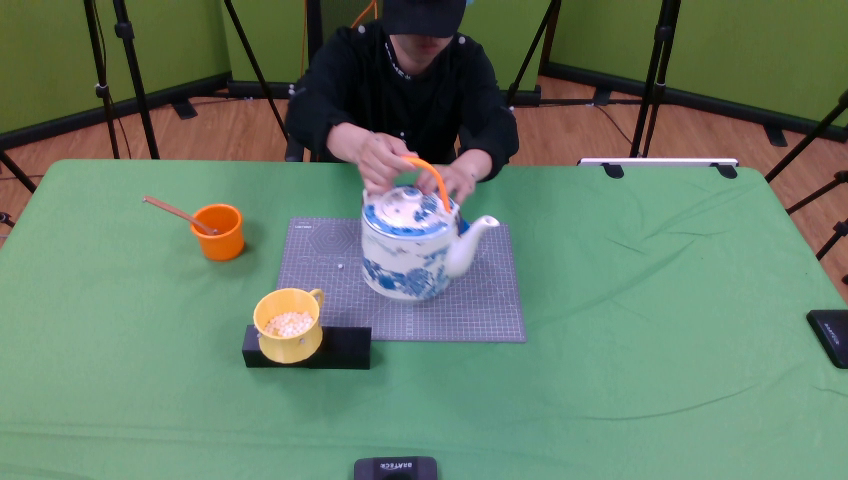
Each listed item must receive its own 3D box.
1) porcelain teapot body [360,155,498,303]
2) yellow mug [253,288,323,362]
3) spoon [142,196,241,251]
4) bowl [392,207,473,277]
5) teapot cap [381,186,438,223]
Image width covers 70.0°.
[{"bbox_3d":[0.005,-0.018,0.903,0.205,0.226,0.144,12,39,10],"label":"porcelain teapot body"},{"bbox_3d":[-0.205,0.124,0.963,0.099,0.064,0.130,27,48,21],"label":"yellow mug"},{"bbox_3d":[-0.421,-0.032,1.108,0.021,0.195,0.041,-32,40,27],"label":"spoon"},{"bbox_3d":[0.014,0.016,1.140,0.151,0.077,0.150,2,46,-2],"label":"bowl"},{"bbox_3d":[-0.021,-0.055,0.884,0.085,0.044,0.084,5,38,-4],"label":"teapot cap"}]
